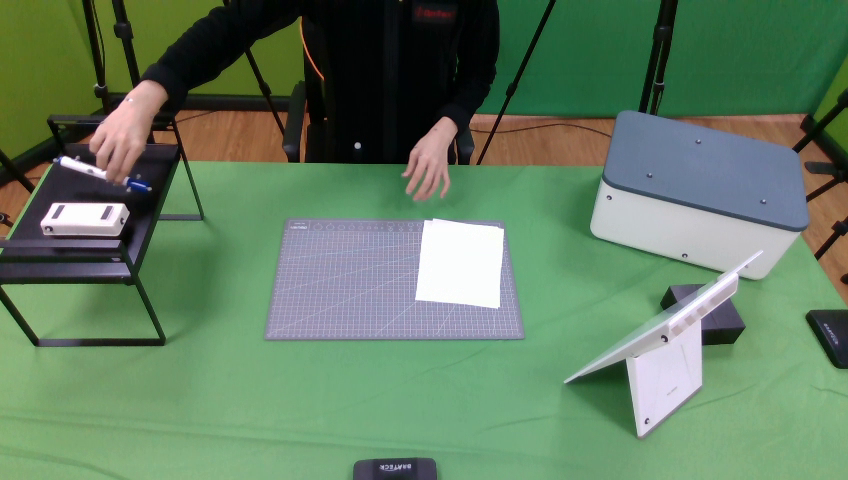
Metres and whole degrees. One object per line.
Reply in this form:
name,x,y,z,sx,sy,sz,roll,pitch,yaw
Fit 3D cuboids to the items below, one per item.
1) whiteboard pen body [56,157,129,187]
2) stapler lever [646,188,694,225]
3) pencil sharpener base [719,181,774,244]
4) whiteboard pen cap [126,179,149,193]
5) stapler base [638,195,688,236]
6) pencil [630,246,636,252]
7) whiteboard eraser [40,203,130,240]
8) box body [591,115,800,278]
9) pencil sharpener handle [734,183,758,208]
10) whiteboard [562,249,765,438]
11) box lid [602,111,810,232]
whiteboard pen body,-0.522,-0.106,0.980,0.141,0.017,0.017,18,47,-3
stapler lever,0.515,-0.078,1.265,0.027,0.040,0.117,-2,42,-29
pencil sharpener base,0.652,-0.056,1.232,0.061,0.107,0.076,11,46,6
whiteboard pen cap,-0.466,-0.088,0.982,0.033,0.018,0.018,17,47,-4
stapler base,0.509,-0.059,1.278,0.041,0.024,0.129,-2,40,-29
pencil,0.431,-0.060,1.284,0.012,0.012,0.193,3,58,-1
whiteboard eraser,-0.513,-0.028,0.922,0.113,0.042,0.055,1,48,-3
box body,0.540,-0.092,1.229,0.363,0.161,0.253,16,47,11
pencil sharpener handle,0.663,-0.100,1.259,0.036,0.068,0.030,10,46,6
whiteboard,0.386,0.175,0.905,0.217,0.306,0.143,-26,72,-26
box lid,0.545,-0.143,1.176,0.371,0.015,0.262,15,47,11
